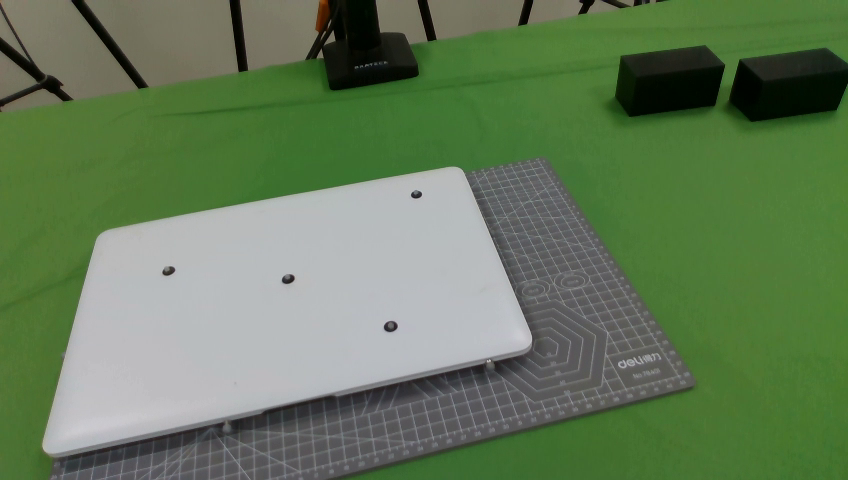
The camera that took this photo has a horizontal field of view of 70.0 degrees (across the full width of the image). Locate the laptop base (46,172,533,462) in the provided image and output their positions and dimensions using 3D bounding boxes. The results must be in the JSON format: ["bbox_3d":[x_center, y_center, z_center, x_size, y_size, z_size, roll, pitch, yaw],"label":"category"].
[{"bbox_3d":[-0.111,0.046,0.516,0.355,0.023,0.233,-11,46,-6],"label":"laptop base"}]

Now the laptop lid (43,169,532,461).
[{"bbox_3d":[-0.112,0.039,0.506,0.357,0.013,0.239,-10,44,-5],"label":"laptop lid"}]
